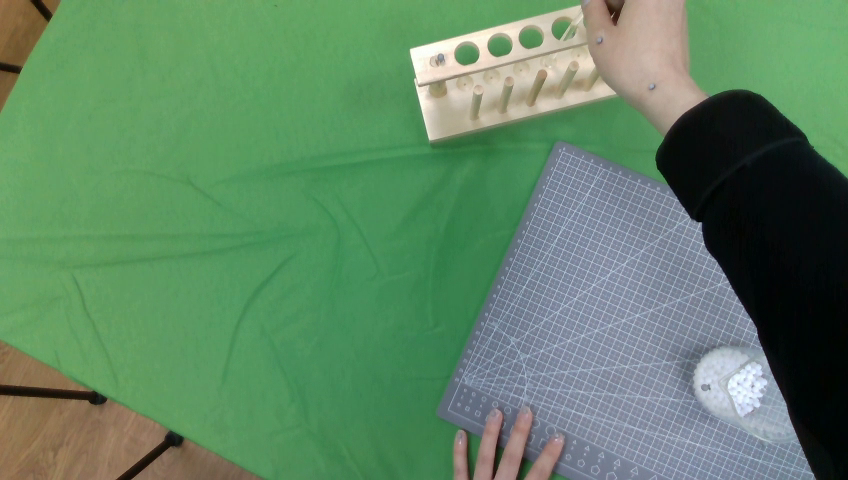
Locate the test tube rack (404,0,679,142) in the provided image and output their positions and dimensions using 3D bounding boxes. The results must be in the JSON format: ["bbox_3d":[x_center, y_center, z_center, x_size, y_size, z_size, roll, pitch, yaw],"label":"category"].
[{"bbox_3d":[0.108,-0.162,0.573,0.242,0.085,0.066,-14,85,0],"label":"test tube rack"}]

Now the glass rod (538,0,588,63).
[{"bbox_3d":[0.129,-0.194,0.510,0.008,0.200,0.008,1,82,-7],"label":"glass rod"}]

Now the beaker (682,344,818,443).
[{"bbox_3d":[0.279,0.130,0.538,0.084,0.100,0.074,13,85,3],"label":"beaker"}]
